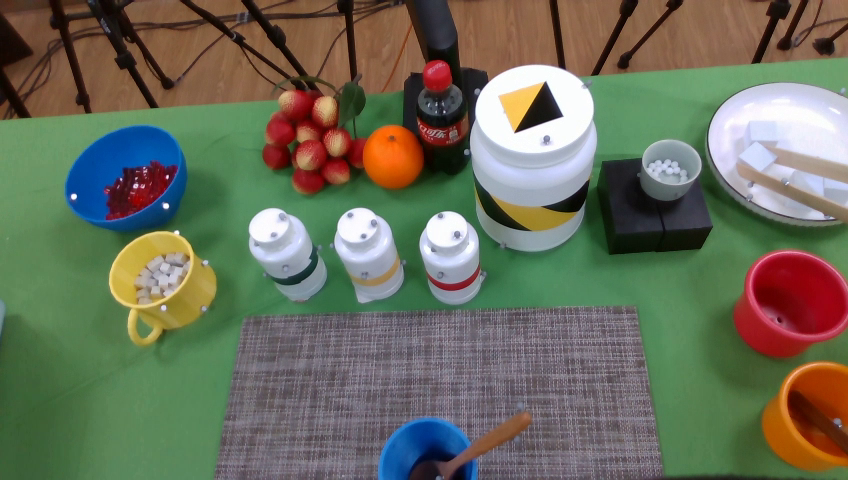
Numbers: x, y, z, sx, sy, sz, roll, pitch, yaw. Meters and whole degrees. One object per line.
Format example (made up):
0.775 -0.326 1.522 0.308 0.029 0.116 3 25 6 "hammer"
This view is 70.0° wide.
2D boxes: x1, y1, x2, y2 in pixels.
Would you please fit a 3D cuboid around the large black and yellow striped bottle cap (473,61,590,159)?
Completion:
0.105 -0.130 0.596 0.115 0.019 0.114 -3 59 6 "large black and yellow striped bottle cap"

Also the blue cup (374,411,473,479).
0.004 0.213 0.557 0.092 0.101 0.092 -2 59 4 "blue cup"

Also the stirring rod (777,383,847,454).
0.357 0.170 0.520 0.014 0.006 0.175 -7 17 2 "stirring rod"

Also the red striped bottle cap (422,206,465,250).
0.020 -0.013 0.614 0.044 0.018 0.044 -1 59 2 "red striped bottle cap"

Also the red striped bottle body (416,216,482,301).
0.028 0.014 0.659 0.063 0.121 0.062 -5 58 9 "red striped bottle body"

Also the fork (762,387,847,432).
0.384 0.169 0.511 0.028 0.019 0.206 -30 17 -18 "fork"

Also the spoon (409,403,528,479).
0.031 0.184 0.524 0.022 0.194 0.041 -2 58 -32 "spoon"

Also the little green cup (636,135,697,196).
0.266 -0.081 0.672 0.061 0.039 0.061 -2 59 4 "little green cup"

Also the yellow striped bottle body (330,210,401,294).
-0.065 0.008 0.673 0.063 0.121 0.062 -4 60 7 "yellow striped bottle body"

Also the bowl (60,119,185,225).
-0.372 -0.073 0.782 0.151 0.077 0.150 -3 61 5 "bowl"

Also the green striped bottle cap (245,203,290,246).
-0.166 -0.017 0.640 0.044 0.020 0.044 -3 59 5 "green striped bottle cap"

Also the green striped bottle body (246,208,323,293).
-0.159 0.009 0.685 0.063 0.120 0.062 -3 60 5 "green striped bottle body"

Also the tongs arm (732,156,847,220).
0.449 -0.021 0.561 0.051 0.027 0.380 -33 33 -2 "tongs arm"

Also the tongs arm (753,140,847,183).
0.468 -0.034 0.564 0.028 0.028 0.383 -33 33 -8 "tongs arm"

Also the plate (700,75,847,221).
0.436 -0.108 0.724 0.209 0.038 0.207 -3 61 5 "plate"

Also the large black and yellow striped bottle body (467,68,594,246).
0.115 -0.090 0.670 0.130 0.185 0.129 -3 60 6 "large black and yellow striped bottle body"

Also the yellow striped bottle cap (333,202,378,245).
-0.071 -0.017 0.629 0.044 0.019 0.044 -2 62 5 "yellow striped bottle cap"

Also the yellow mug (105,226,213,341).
-0.314 0.055 0.709 0.100 0.064 0.130 7 62 10 "yellow mug"
